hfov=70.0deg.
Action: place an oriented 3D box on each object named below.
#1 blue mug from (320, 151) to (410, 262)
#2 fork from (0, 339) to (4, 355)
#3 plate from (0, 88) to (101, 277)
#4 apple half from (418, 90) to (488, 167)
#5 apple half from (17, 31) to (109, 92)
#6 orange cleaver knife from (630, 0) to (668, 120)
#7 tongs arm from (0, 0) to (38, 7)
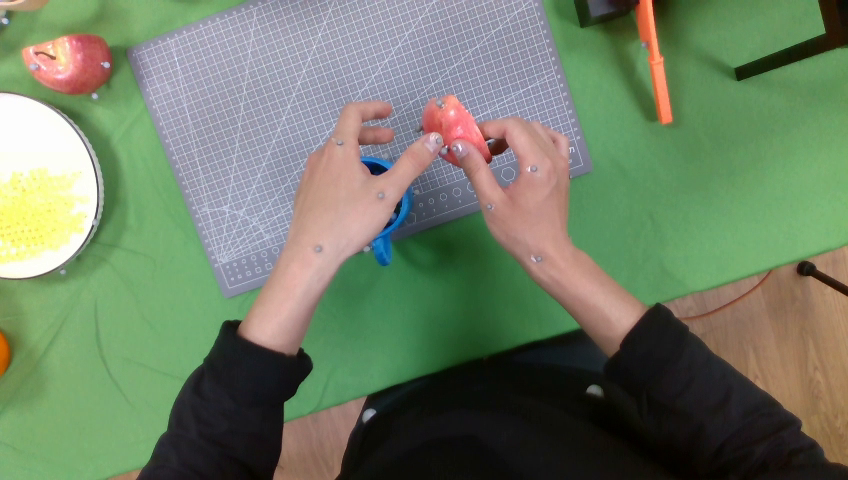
[{"bbox_3d":[-0.056,-0.034,0.641,0.082,0.105,0.117,-11,97,3],"label":"blue mug"},{"bbox_3d":[-0.580,0.137,0.655,0.208,0.018,0.028,-8,98,-41],"label":"fork"},{"bbox_3d":[-0.463,-0.064,0.682,0.209,0.038,0.209,0,98,2],"label":"plate"},{"bbox_3d":[0.019,-0.090,0.526,0.033,0.081,0.081,-38,95,-12],"label":"apple half"},{"bbox_3d":[-0.378,-0.185,0.646,0.081,0.074,0.053,-16,100,-1],"label":"apple half"},{"bbox_3d":[0.225,-0.226,0.623,0.012,0.076,0.213,-17,123,12],"label":"orange cleaver knife"},{"bbox_3d":[-0.583,-0.278,0.623,0.385,0.026,0.051,9,94,2],"label":"tongs arm"}]
